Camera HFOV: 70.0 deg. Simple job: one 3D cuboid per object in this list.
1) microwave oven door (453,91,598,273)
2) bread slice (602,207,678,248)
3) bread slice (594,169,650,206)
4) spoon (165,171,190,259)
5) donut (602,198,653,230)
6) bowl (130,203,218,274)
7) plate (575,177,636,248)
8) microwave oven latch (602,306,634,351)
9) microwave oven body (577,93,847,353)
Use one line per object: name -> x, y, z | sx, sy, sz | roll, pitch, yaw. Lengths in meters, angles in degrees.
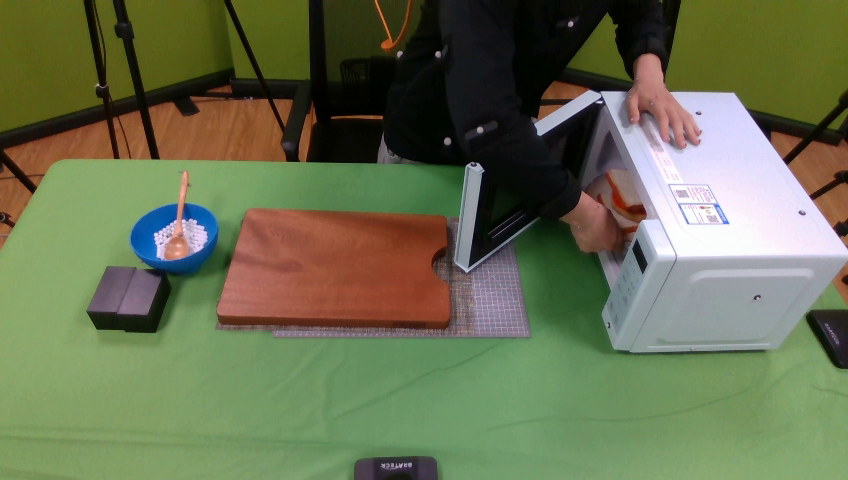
microwave oven door -> 0.198, -0.115, 1.153 | 0.356, 0.245, 0.039 | -34, 57, -31
bread slice -> 0.422, -0.029, 1.179 | 0.131, 0.019, 0.104 | -9, 34, 7
bread slice -> 0.394, -0.100, 1.129 | 0.134, 0.018, 0.106 | -6, 42, -27
spoon -> -0.452, -0.046, 1.128 | 0.041, 0.022, 0.193 | -1, 69, -3
donut -> 0.389, -0.053, 1.150 | 0.099, 0.048, 0.098 | -8, 25, 4
bowl -> -0.451, 0.009, 1.116 | 0.151, 0.077, 0.150 | 3, 45, -3
plate -> 0.395, -0.052, 1.174 | 0.208, 0.039, 0.206 | 1, 45, -1
microwave oven latch -> 0.332, 0.153, 1.044 | 0.030, 0.029, 0.078 | 0, 45, -4
microwave oven body -> 0.475, -0.041, 1.109 | 0.326, 0.261, 0.438 | -1, 45, -4
